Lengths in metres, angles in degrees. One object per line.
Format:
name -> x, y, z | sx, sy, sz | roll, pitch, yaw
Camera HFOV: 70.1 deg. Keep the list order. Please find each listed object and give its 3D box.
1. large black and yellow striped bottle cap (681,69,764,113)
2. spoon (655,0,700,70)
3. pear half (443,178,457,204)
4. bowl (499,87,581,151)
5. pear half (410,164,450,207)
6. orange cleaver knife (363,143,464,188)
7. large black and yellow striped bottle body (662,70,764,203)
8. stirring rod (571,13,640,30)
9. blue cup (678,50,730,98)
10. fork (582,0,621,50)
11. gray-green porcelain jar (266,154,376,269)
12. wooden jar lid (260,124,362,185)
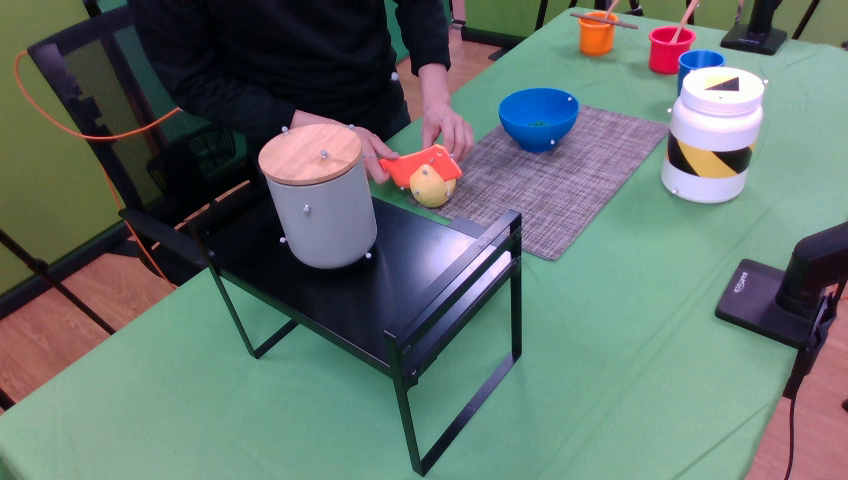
large black and yellow striped bottle cap -> 0.453, -0.229, 0.921 | 0.115, 0.019, 0.114 | -4, 39, 4
spoon -> 0.568, -0.463, 1.336 | 0.041, 0.022, 0.193 | 30, 97, 37
pear half -> 0.022, -0.120, 1.043 | 0.076, 0.110, 0.056 | 12, 45, 16
bowl -> 0.220, -0.223, 1.156 | 0.151, 0.077, 0.150 | -4, 40, 4
pear half -> 0.006, -0.086, 1.023 | 0.070, 0.088, 0.031 | 5, 49, 14
orange cleaver knife -> -0.033, -0.121, 1.031 | 0.210, 0.077, 0.012 | -3, 40, 30
large black and yellow striped bottle body -> 0.464, -0.166, 0.976 | 0.131, 0.185, 0.130 | -5, 41, 5
stirring rod -> 0.418, -0.508, 1.404 | 0.174, 0.006, 0.014 | 28, 53, 35
blue cup -> 0.542, -0.310, 1.194 | 0.092, 0.101, 0.092 | -6, 41, 6
fork -> 0.446, -0.539, 1.438 | 0.207, 0.019, 0.028 | -57, 35, 12
gray-green porcelain jar -> -0.112, -0.039, 0.685 | 0.106, 0.127, 0.105 | -4, 40, 4
wooden jar lid -> -0.119, -0.088, 0.644 | 0.108, 0.021, 0.108 | -4, 40, 3
